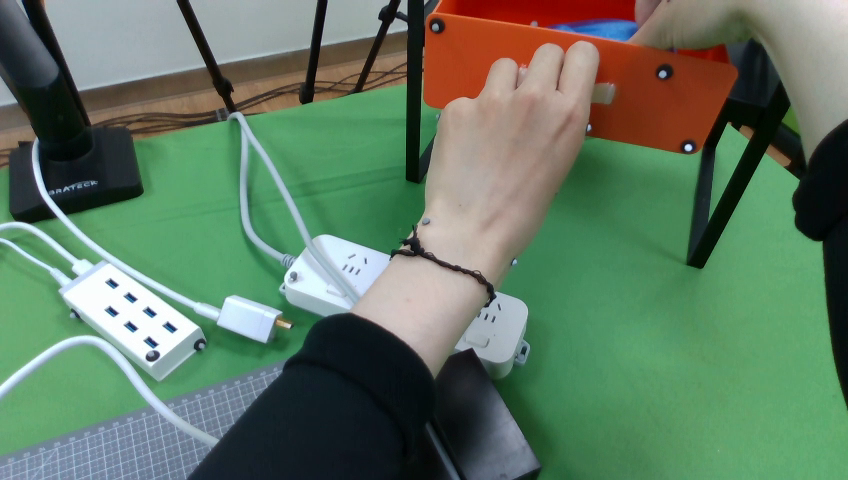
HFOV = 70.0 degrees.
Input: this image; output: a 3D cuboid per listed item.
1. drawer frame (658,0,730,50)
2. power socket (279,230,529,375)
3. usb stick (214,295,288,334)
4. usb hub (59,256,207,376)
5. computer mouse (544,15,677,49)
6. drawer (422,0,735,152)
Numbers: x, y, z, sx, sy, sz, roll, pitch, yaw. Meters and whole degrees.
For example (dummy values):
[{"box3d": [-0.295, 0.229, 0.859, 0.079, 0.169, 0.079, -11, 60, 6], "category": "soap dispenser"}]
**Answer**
[{"box3d": [0.137, -0.235, 0.521, 0.201, 0.083, 0.212, 10, 47, 6], "category": "drawer frame"}, {"box3d": [-0.017, 0.051, 0.526, 0.226, 0.033, 0.072, 18, 48, 14], "category": "power socket"}, {"box3d": [-0.143, 0.063, 0.508, 0.059, 0.021, 0.027, 13, 88, -9], "category": "usb stick"}, {"box3d": [-0.245, 0.061, 0.508, 0.124, 0.025, 0.049, 28, 52, 22], "category": "usb hub"}, {"box3d": [0.121, -0.137, 0.442, 0.116, 0.041, 0.062, 23, 53, 32], "category": "computer mouse"}, {"box3d": [0.117, -0.172, 0.463, 0.194, 0.074, 0.210, 12, 47, 7], "category": "drawer"}]
